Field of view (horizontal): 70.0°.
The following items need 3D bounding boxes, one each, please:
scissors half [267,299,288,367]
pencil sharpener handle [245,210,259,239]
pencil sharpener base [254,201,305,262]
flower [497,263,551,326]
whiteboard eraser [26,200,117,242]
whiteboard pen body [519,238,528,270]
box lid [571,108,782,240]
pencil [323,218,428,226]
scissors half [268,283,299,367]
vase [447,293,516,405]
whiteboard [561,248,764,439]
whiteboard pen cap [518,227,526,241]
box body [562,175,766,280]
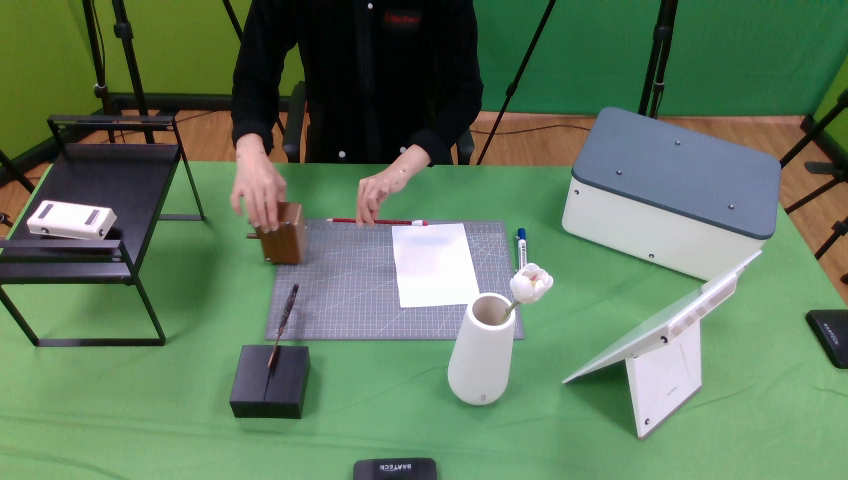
[{"bbox_3d":[-0.239,0.150,0.997,0.013,0.040,0.174,24,24,-13],"label":"scissors half"},{"bbox_3d":[-0.315,-0.026,1.104,0.030,0.068,0.036,2,50,-1],"label":"pencil sharpener handle"},{"bbox_3d":[-0.265,-0.014,1.113,0.077,0.107,0.061,2,46,-1],"label":"pencil sharpener base"},{"bbox_3d":[0.102,0.121,0.852,0.044,0.363,0.038,-2,64,-10],"label":"flower"},{"bbox_3d":[-0.532,-0.026,0.919,0.113,0.042,0.055,7,45,3],"label":"whiteboard eraser"},{"bbox_3d":[0.193,0.035,1.180,0.017,0.017,0.140,6,48,1],"label":"whiteboard pen body"},{"bbox_3d":[0.491,-0.139,1.168,0.370,0.015,0.262,21,49,15],"label":"box lid"},{"bbox_3d":[-0.090,-0.035,1.118,0.194,0.012,0.012,2,46,3],"label":"pencil"},{"bbox_3d":[-0.230,0.135,0.986,0.013,0.040,0.174,19,43,-11],"label":"scissors half"},{"bbox_3d":[0.091,0.169,0.921,0.098,0.201,0.097,3,47,-3],"label":"vase"},{"bbox_3d":[0.386,0.176,0.905,0.217,0.306,0.143,-26,72,-27],"label":"whiteboard"},{"bbox_3d":[0.197,-0.009,1.220,0.018,0.018,0.033,5,51,1],"label":"whiteboard pen cap"},{"bbox_3d":[0.486,-0.088,1.222,0.363,0.161,0.253,20,48,15],"label":"box body"}]
